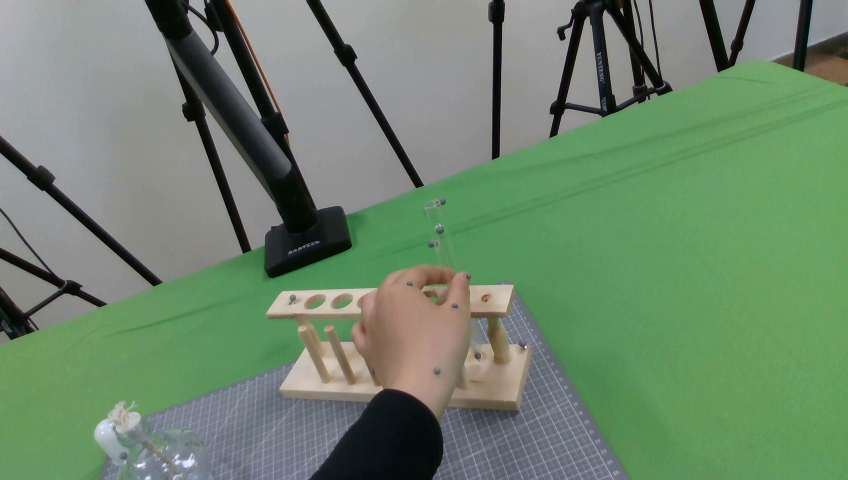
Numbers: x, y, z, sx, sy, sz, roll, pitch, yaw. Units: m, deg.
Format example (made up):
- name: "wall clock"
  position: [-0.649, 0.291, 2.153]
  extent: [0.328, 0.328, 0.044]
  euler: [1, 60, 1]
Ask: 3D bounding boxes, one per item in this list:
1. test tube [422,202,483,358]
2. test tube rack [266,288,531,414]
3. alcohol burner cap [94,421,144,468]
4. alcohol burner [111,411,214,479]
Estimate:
- name: "test tube"
  position: [0.025, 0.038, 0.513]
  extent: [0.017, 0.151, 0.017]
  euler: [-15, 23, 7]
- name: "test tube rack"
  position: [-0.032, 0.101, 0.559]
  extent: [0.241, 0.086, 0.066]
  euler: [-4, 35, 24]
- name: "alcohol burner cap"
  position: [-0.303, 0.198, 0.597]
  extent: [0.034, 0.048, 0.033]
  euler: [-13, 33, 9]
- name: "alcohol burner"
  position: [-0.228, 0.184, 0.510]
  extent: [0.078, 0.120, 0.077]
  euler: [-12, 33, 8]
